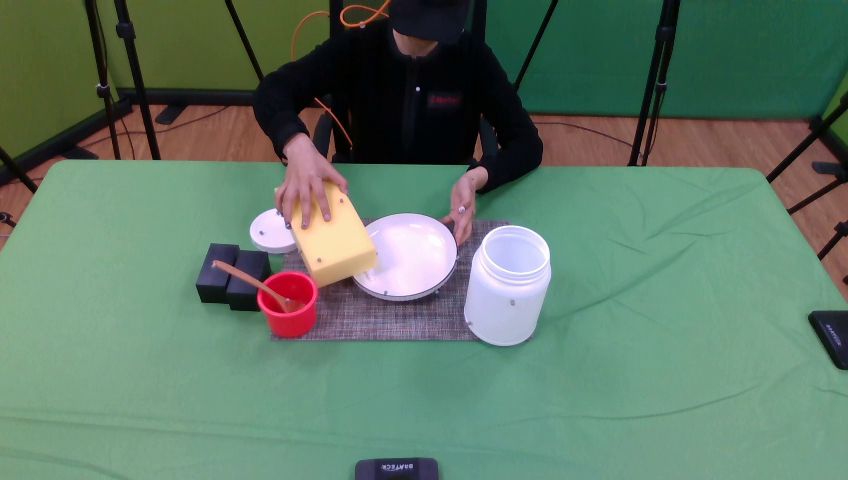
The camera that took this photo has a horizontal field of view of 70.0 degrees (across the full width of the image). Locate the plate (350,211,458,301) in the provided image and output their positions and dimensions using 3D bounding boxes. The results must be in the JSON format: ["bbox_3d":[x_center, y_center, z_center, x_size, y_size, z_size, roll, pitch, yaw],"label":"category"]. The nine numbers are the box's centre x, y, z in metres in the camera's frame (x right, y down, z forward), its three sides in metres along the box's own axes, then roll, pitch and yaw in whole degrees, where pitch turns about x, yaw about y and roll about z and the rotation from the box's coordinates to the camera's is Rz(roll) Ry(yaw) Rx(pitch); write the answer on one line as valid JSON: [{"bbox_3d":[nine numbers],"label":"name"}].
[{"bbox_3d":[-0.041,0.033,1.134,0.209,0.038,0.208,-3,49,4],"label":"plate"}]

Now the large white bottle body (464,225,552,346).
[{"bbox_3d":[0.141,0.076,1.017,0.131,0.185,0.130,2,46,-2],"label":"large white bottle body"}]

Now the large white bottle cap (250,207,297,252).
[{"bbox_3d":[-0.284,-0.023,1.198,0.115,0.018,0.114,0,46,0],"label":"large white bottle cap"}]

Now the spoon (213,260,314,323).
[{"bbox_3d":[-0.264,0.083,1.009,0.195,0.021,0.041,40,39,-28],"label":"spoon"}]

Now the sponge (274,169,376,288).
[{"bbox_3d":[-0.183,-0.025,1.114,0.118,0.061,0.205,-22,59,-16],"label":"sponge"}]
